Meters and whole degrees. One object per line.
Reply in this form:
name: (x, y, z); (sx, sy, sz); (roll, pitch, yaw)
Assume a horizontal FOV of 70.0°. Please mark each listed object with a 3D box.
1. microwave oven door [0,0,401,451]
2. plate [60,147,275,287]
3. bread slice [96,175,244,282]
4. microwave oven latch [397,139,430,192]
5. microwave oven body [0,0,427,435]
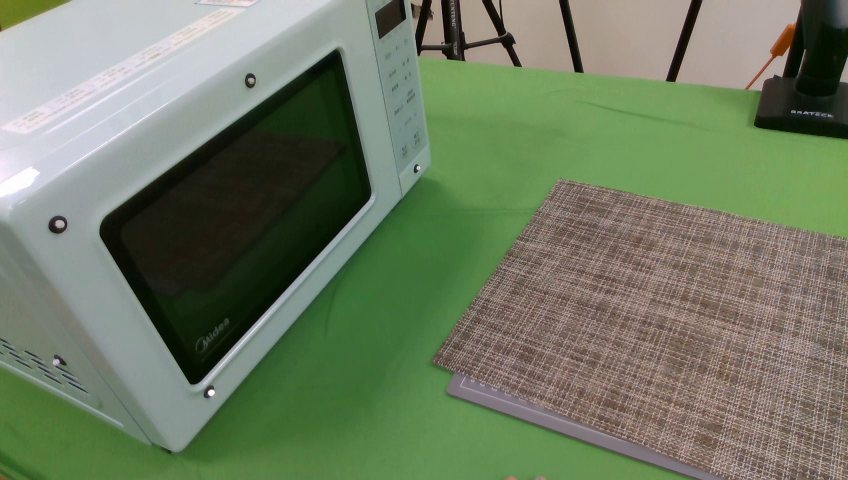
microwave oven door: (-0.137, -0.034, 0.510); (0.039, 0.246, 0.354); (14, 45, 25)
plate: (-0.250, -0.024, 0.609); (0.209, 0.038, 0.207); (-6, 40, 5)
bread slice: (-0.252, -0.022, 0.614); (0.104, 0.019, 0.131); (23, 53, 31)
microwave oven latch: (-0.021, -0.090, 0.716); (0.030, 0.030, 0.079); (15, 46, 25)
microwave oven body: (-0.245, -0.087, 0.602); (0.324, 0.263, 0.440); (14, 46, 25)
